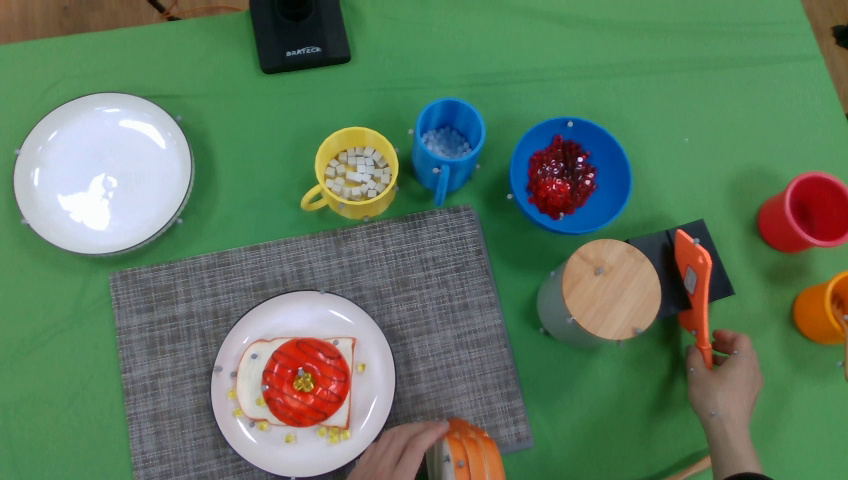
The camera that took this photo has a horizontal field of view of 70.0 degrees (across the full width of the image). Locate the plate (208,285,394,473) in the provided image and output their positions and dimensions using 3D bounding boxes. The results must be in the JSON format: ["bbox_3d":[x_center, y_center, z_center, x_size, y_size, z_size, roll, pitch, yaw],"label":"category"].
[{"bbox_3d":[-0.138,0.156,0.698,0.209,0.038,0.208,1,77,-4],"label":"plate"}]

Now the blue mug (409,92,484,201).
[{"bbox_3d":[0.022,-0.105,0.743,0.082,0.106,0.116,9,76,-2],"label":"blue mug"}]

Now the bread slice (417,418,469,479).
[{"bbox_3d":[0.019,0.245,0.647,0.018,0.134,0.106,-4,76,-15],"label":"bread slice"}]

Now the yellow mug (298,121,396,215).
[{"bbox_3d":[-0.098,-0.079,0.746,0.131,0.064,0.099,-33,81,-10],"label":"yellow mug"}]

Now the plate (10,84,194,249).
[{"bbox_3d":[-0.385,-0.087,0.737,0.208,0.039,0.206,1,77,-5],"label":"plate"}]

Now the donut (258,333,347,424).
[{"bbox_3d":[-0.134,0.152,0.671,0.099,0.048,0.098,2,79,-8],"label":"donut"}]

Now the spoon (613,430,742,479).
[{"bbox_3d":[0.303,0.272,0.722,0.194,0.022,0.041,-22,62,-10],"label":"spoon"}]

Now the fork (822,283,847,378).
[{"bbox_3d":[0.488,0.103,0.712,0.028,0.018,0.207,51,34,1],"label":"fork"}]

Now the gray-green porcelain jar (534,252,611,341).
[{"bbox_3d":[0.190,0.063,0.707,0.106,0.127,0.105,1,76,-5],"label":"gray-green porcelain jar"}]

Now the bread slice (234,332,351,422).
[{"bbox_3d":[-0.151,0.157,0.701,0.132,0.019,0.104,2,76,-8],"label":"bread slice"}]

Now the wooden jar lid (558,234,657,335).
[{"bbox_3d":[0.194,0.048,0.647,0.108,0.021,0.108,2,79,-7],"label":"wooden jar lid"}]

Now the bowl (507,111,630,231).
[{"bbox_3d":[0.172,-0.077,0.763,0.151,0.077,0.150,1,77,-4],"label":"bowl"}]

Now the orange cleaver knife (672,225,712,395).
[{"bbox_3d":[0.324,0.086,0.736,0.012,0.076,0.212,-13,108,-5],"label":"orange cleaver knife"}]
